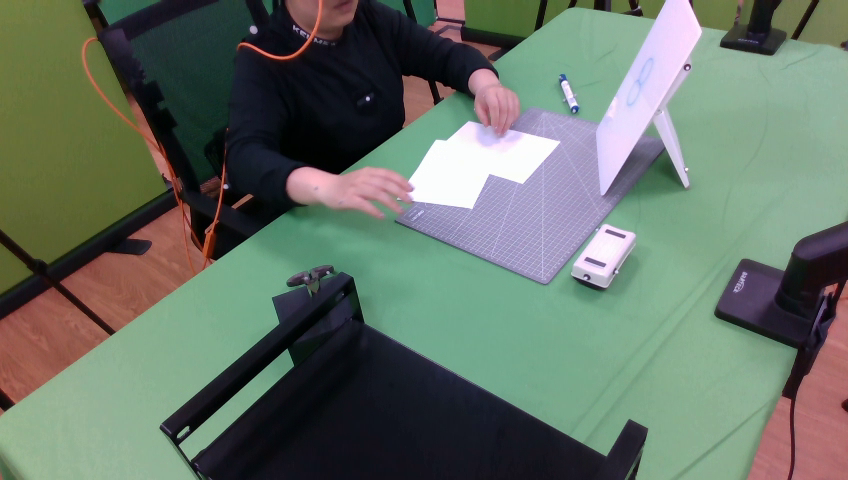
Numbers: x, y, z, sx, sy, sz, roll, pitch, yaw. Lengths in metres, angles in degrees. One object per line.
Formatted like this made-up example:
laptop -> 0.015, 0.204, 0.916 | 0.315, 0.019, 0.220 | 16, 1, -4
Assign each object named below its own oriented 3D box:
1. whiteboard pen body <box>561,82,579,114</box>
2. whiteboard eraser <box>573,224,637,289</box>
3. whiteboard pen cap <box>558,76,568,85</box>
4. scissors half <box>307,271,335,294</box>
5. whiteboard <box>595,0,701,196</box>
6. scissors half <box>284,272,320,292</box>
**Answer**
whiteboard pen body -> 0.310, -0.311, 1.298 | 0.017, 0.017, 0.140 | -6, 41, 2
whiteboard eraser -> 0.267, 0.025, 0.891 | 0.055, 0.042, 0.113 | 19, 47, 31
whiteboard pen cap -> 0.309, -0.350, 1.341 | 0.018, 0.018, 0.033 | -6, 41, 2
scissors half -> -0.151, 0.061, 0.873 | 0.040, 0.013, 0.175 | -3, 6, -4
whiteboard -> 0.421, -0.227, 1.010 | 0.144, 0.305, 0.216 | 18, 42, -2
scissors half -> -0.171, 0.063, 0.868 | 0.040, 0.013, 0.174 | -10, 7, -22
